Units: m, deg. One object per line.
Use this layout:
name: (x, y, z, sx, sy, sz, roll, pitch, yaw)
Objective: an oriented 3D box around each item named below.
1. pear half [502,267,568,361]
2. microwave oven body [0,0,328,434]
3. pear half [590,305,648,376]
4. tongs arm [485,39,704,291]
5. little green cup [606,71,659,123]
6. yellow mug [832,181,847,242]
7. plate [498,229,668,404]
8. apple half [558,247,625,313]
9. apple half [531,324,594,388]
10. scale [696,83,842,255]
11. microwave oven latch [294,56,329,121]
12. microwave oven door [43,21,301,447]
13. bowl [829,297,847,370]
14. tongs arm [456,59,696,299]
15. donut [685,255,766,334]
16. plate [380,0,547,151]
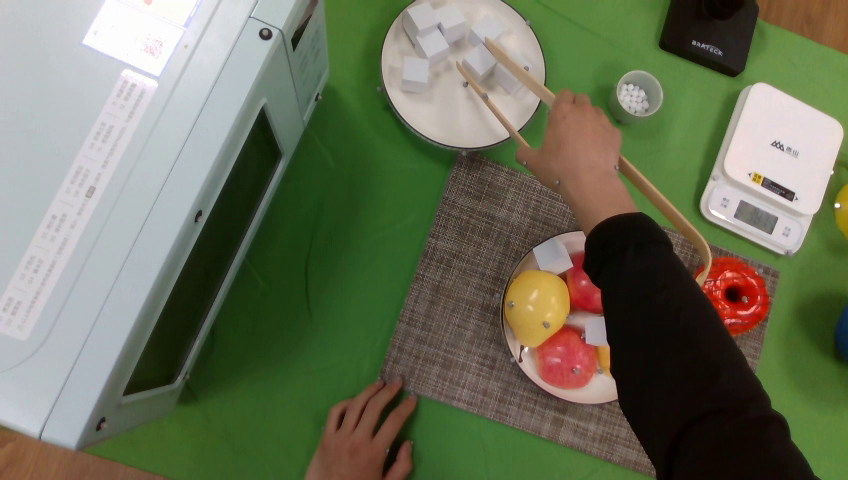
pear half: (0.129, 0.089, 0.703, 0.076, 0.056, 0.109, 15, 85, -13)
microwave oven body: (-0.330, -0.094, 0.577, 0.326, 0.260, 0.440, 23, 80, -4)
pear half: (0.236, 0.120, 0.727, 0.070, 0.031, 0.087, 20, 77, 10)
tongs arm: (0.170, -0.101, 0.657, 0.028, 0.028, 0.383, -32, 61, -4)
little green cup: (0.267, -0.183, 0.784, 0.061, 0.038, 0.061, 1, 81, -7)
yellow mug: (0.601, -0.056, 0.795, 0.100, 0.064, 0.130, -12, 83, -8)
plate: (0.189, 0.091, 0.732, 0.209, 0.038, 0.208, 1, 82, -7)
apple half: (0.202, 0.046, 0.722, 0.075, 0.053, 0.080, 9, 84, -3)
apple half: (0.167, 0.137, 0.714, 0.081, 0.033, 0.081, 2, 76, -9)
scale: (0.456, -0.095, 0.799, 0.149, 0.031, 0.200, 25, 80, -3)
microwave oven latch: (-0.138, -0.183, 0.712, 0.030, 0.029, 0.079, 26, 80, -4)
microwave oven door: (-0.212, 0.001, 0.573, 0.039, 0.244, 0.355, 23, 80, -3)
bowl: (0.574, 0.121, 0.762, 0.152, 0.077, 0.151, 1, 83, -7)
tongs arm: (0.147, -0.085, 0.656, 0.051, 0.027, 0.381, -31, 61, 0)
donut: (0.374, 0.068, 0.756, 0.099, 0.048, 0.098, 1, 81, -4)
plate: (0.048, -0.209, 0.759, 0.208, 0.039, 0.207, 1, 82, -7)
